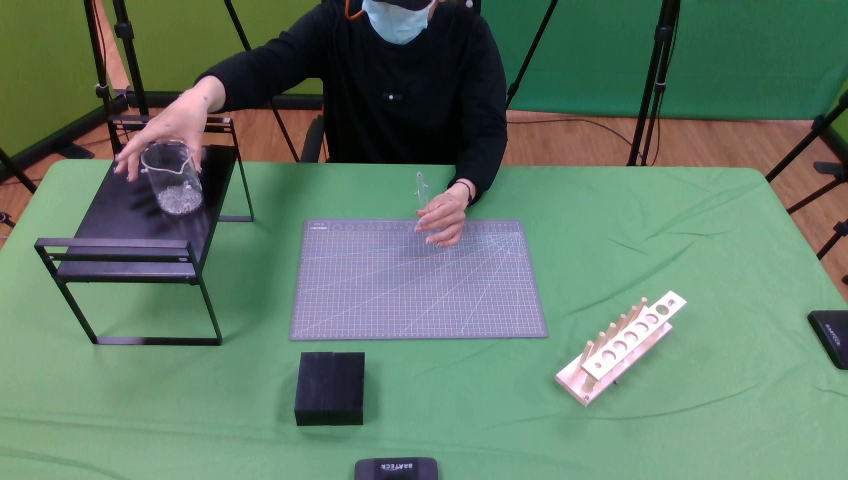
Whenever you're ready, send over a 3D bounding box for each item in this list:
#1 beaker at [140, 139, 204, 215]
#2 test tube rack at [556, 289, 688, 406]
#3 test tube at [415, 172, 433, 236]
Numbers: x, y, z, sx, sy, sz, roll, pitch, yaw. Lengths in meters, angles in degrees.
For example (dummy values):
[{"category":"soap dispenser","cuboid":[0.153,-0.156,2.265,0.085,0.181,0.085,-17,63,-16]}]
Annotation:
[{"category":"beaker","cuboid":[-0.391,-0.095,0.954,0.074,0.101,0.083,-30,56,-28]},{"category":"test tube rack","cuboid":[0.333,0.166,1.014,0.242,0.085,0.066,-30,55,-28]},{"category":"test tube","cuboid":[0.001,-0.061,1.083,0.017,0.151,0.017,-4,47,5]}]
